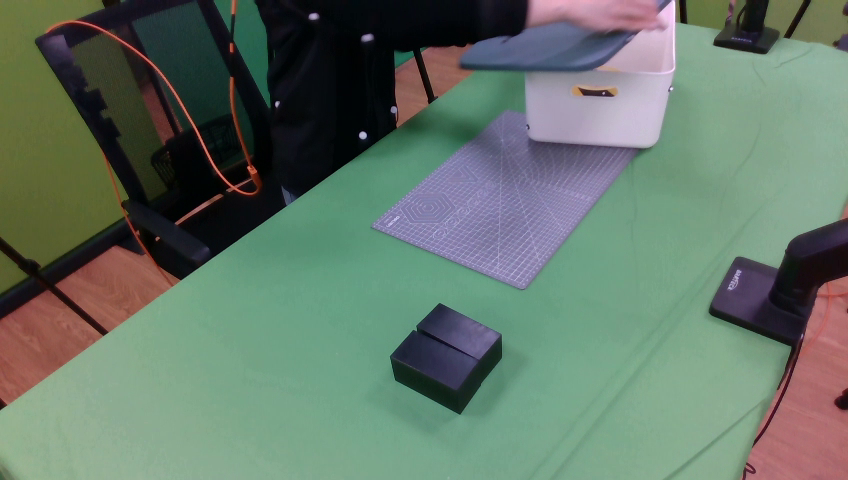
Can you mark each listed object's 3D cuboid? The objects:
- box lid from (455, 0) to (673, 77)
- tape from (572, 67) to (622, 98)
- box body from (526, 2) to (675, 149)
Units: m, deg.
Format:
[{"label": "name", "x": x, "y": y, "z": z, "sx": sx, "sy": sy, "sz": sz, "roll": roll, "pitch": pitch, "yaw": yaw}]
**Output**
[{"label": "box lid", "x": 0.245, "y": -0.355, "z": 0.970, "sx": 0.261, "sy": 0.015, "sz": 0.372, "roll": 17, "pitch": 50, "yaw": 43}, {"label": "tape", "x": 0.359, "y": -0.311, "z": 1.251, "sx": 0.117, "sy": 0.053, "sz": 0.116, "roll": -4, "pitch": 41, "yaw": 4}, {"label": "box body", "x": 0.356, "y": -0.342, "z": 1.212, "sx": 0.253, "sy": 0.161, "sz": 0.363, "roll": 6, "pitch": 42, "yaw": 17}]
